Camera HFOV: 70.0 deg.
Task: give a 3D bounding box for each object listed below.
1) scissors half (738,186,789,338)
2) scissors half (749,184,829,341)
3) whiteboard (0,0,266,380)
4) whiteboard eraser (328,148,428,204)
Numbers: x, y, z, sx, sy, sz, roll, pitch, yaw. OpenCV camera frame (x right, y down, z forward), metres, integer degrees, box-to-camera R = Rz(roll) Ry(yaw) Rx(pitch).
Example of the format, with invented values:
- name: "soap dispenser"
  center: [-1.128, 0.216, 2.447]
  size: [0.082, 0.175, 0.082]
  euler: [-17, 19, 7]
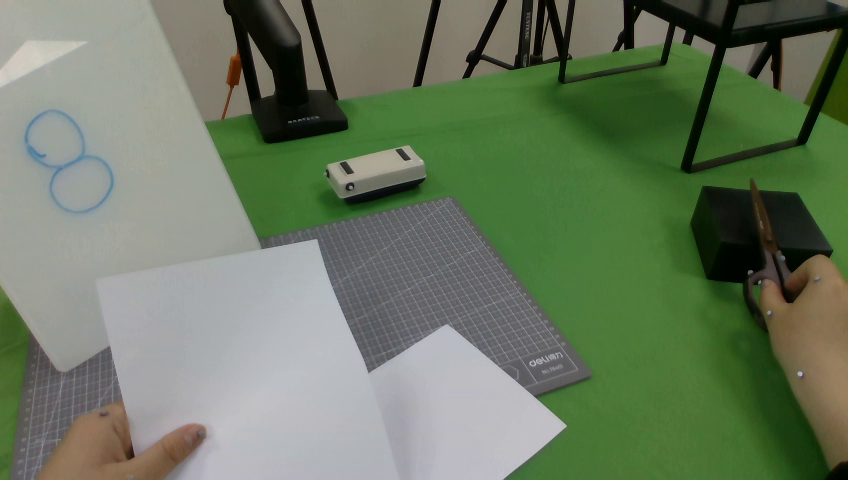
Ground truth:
- name: "scissors half"
  center: [0.318, 0.014, 0.574]
  size: [0.040, 0.013, 0.174]
  euler: [11, 56, 10]
- name: "scissors half"
  center: [0.339, 0.015, 0.573]
  size: [0.040, 0.013, 0.173]
  euler: [-1, 56, -4]
- name: "whiteboard"
  center: [-0.326, -0.071, 0.564]
  size: [0.143, 0.308, 0.217]
  euler: [8, 34, 44]
- name: "whiteboard eraser"
  center: [-0.056, -0.076, 0.736]
  size: [0.113, 0.042, 0.055]
  euler: [-15, 43, -20]
